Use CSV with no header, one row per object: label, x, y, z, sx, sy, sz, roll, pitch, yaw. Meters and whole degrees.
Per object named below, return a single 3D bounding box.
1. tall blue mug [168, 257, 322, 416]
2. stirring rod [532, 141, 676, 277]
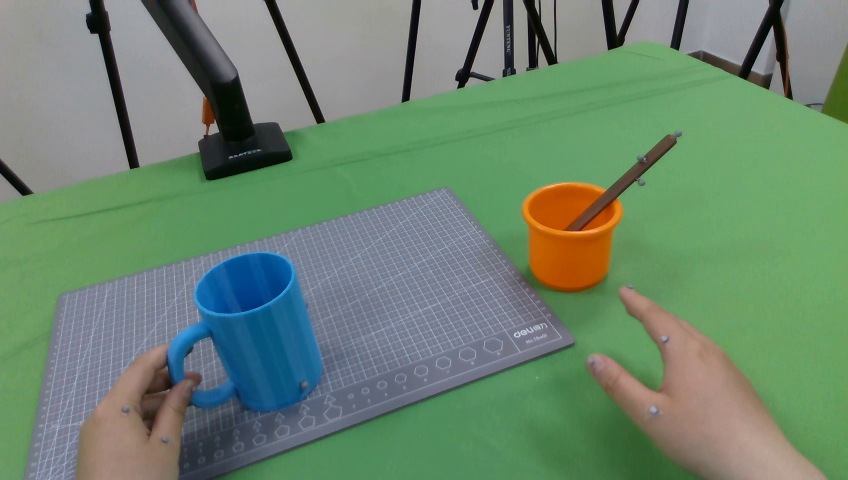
tall blue mug,-0.136,0.088,0.480,0.077,0.109,0.106,9,39,19
stirring rod,0.166,-0.027,0.571,0.176,0.006,0.014,-46,36,19
